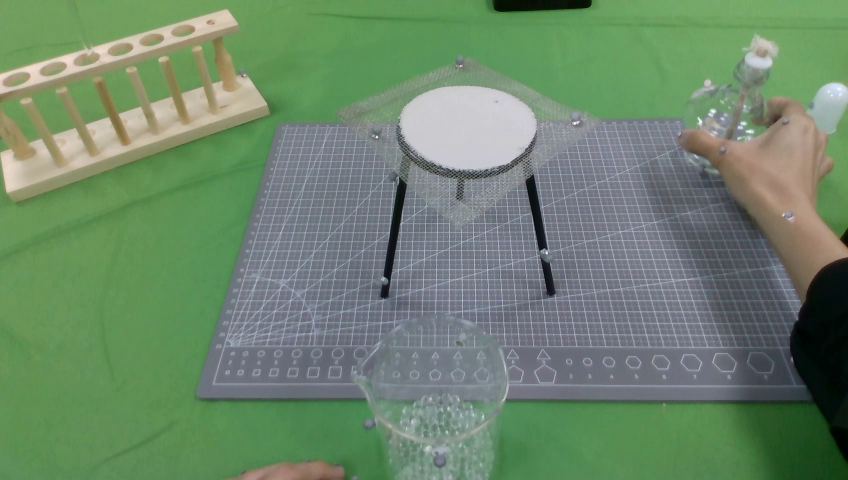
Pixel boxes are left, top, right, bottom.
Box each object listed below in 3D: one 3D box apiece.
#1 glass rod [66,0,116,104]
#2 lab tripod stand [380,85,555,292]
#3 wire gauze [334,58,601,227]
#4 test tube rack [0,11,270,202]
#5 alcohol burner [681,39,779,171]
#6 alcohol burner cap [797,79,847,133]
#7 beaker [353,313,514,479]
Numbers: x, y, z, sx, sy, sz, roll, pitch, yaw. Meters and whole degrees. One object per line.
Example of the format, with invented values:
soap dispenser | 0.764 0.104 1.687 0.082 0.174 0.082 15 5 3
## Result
glass rod | -0.291 -0.173 0.518 0.008 0.201 0.008 2 49 -2
lab tripod stand | 0.032 -0.030 0.431 0.148 0.132 0.147 0 48 0
wire gauze | 0.026 -0.072 0.379 0.121 0.011 0.124 -32 55 -25
test tube rack | -0.278 -0.129 0.567 0.242 0.086 0.066 -24 52 -18
alcohol burner | 0.257 -0.114 0.498 0.078 0.120 0.077 -1 54 1
alcohol burner cap | 0.377 -0.128 0.568 0.034 0.048 0.033 -1 48 1
beaker | 0.006 0.100 0.346 0.084 0.101 0.073 2 49 5
